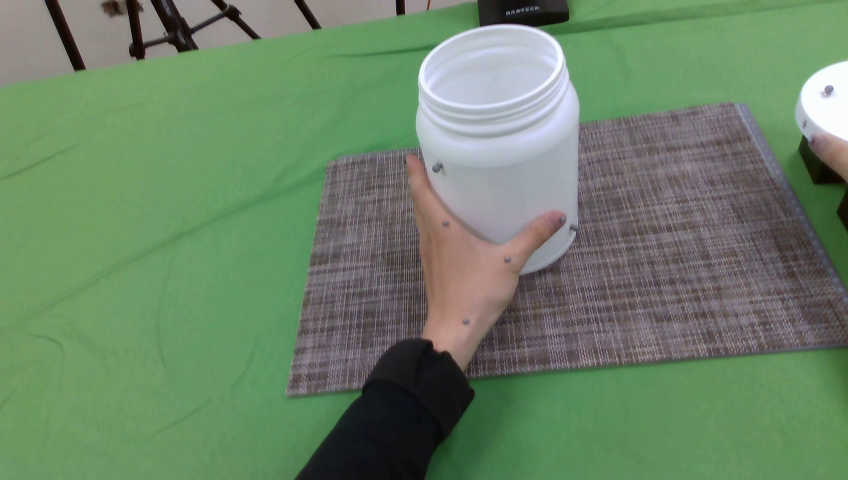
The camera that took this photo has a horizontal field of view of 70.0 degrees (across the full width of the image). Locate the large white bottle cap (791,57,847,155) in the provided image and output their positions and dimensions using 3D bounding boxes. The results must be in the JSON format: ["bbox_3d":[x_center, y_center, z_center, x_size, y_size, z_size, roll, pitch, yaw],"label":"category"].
[{"bbox_3d":[0.356,-0.106,0.477,0.114,0.018,0.113,-7,48,9],"label":"large white bottle cap"}]

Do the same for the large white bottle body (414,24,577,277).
[{"bbox_3d":[0.064,-0.072,0.514,0.130,0.186,0.129,-7,48,8],"label":"large white bottle body"}]
